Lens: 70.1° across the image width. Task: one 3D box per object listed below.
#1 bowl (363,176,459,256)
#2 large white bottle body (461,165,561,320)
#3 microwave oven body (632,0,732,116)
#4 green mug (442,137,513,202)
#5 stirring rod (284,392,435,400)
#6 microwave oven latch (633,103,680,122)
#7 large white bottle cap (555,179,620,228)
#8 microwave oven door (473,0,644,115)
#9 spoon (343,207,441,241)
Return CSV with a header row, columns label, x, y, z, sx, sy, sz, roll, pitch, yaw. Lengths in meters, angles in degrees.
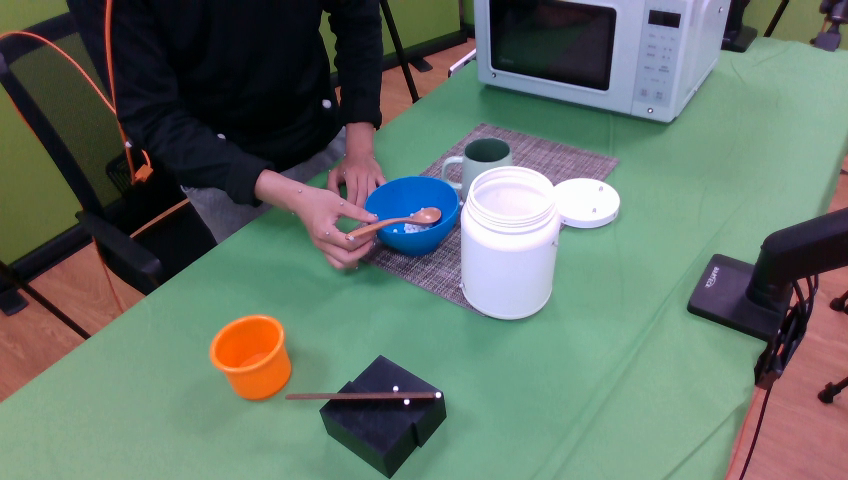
label,x,y,z,sx,sy,sz,roll,pitch,yaw
bowl,-0.016,-0.028,0.955,0.151,0.077,0.150,-4,40,4
large white bottle body,0.115,0.004,0.816,0.130,0.185,0.130,-2,43,2
microwave oven body,0.377,-0.463,1.267,0.438,0.261,0.327,21,49,30
green mug,0.091,-0.108,1.012,0.125,0.105,0.092,2,42,11
stirring rod,-0.075,0.180,0.698,0.176,0.006,0.014,-2,6,6
microwave oven latch,0.444,-0.249,1.158,0.078,0.029,0.030,21,49,30
large white bottle cap,0.265,-0.062,1.001,0.115,0.018,0.114,-3,41,3
microwave oven door,0.257,-0.396,1.199,0.353,0.245,0.039,21,48,29
spoon,-0.046,-0.025,0.911,0.041,0.021,0.195,27,28,37
